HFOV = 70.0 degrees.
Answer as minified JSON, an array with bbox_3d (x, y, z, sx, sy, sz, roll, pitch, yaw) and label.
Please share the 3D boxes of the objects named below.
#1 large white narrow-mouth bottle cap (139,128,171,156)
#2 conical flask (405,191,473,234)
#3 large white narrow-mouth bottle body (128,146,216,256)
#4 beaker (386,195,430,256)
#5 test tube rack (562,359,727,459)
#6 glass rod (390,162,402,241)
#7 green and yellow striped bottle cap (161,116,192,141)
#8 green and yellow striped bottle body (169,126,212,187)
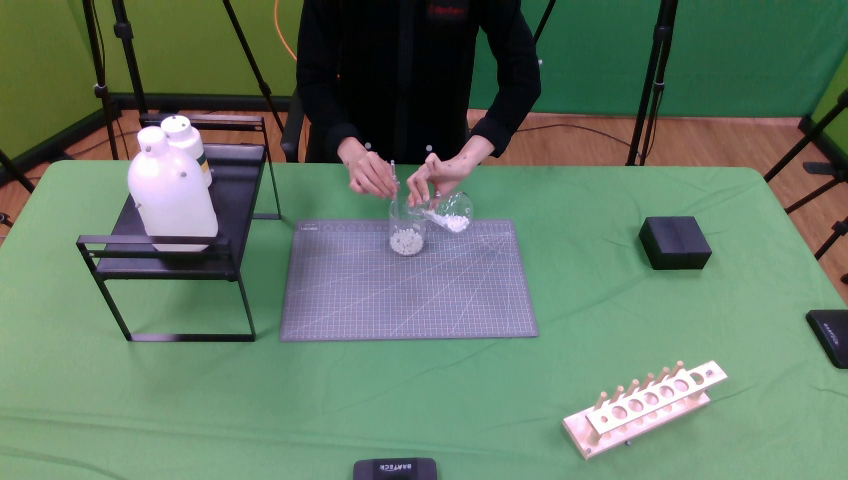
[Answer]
[{"bbox_3d":[-0.358,-0.131,0.808,0.038,0.024,0.037,3,47,-3],"label":"large white narrow-mouth bottle cap"},{"bbox_3d":[0.021,-0.057,1.082,0.121,0.076,0.075,13,42,40],"label":"conical flask"},{"bbox_3d":[-0.366,-0.073,0.872,0.102,0.195,0.101,3,47,-3],"label":"large white narrow-mouth bottle body"},{"bbox_3d":[-0.031,-0.024,1.161,0.084,0.101,0.073,18,48,12],"label":"beaker"},{"bbox_3d":[0.341,0.247,0.940,0.243,0.085,0.066,-16,49,-18],"label":"test tube rack"},{"bbox_3d":[-0.051,-0.066,1.119,0.008,0.201,0.008,-2,48,2],"label":"glass rod"},{"bbox_3d":[-0.387,-0.174,0.946,0.045,0.020,0.045,3,44,-3],"label":"green and yellow striped bottle cap"},{"bbox_3d":[-0.389,-0.139,0.984,0.063,0.120,0.063,2,46,-2],"label":"green and yellow striped bottle body"}]
